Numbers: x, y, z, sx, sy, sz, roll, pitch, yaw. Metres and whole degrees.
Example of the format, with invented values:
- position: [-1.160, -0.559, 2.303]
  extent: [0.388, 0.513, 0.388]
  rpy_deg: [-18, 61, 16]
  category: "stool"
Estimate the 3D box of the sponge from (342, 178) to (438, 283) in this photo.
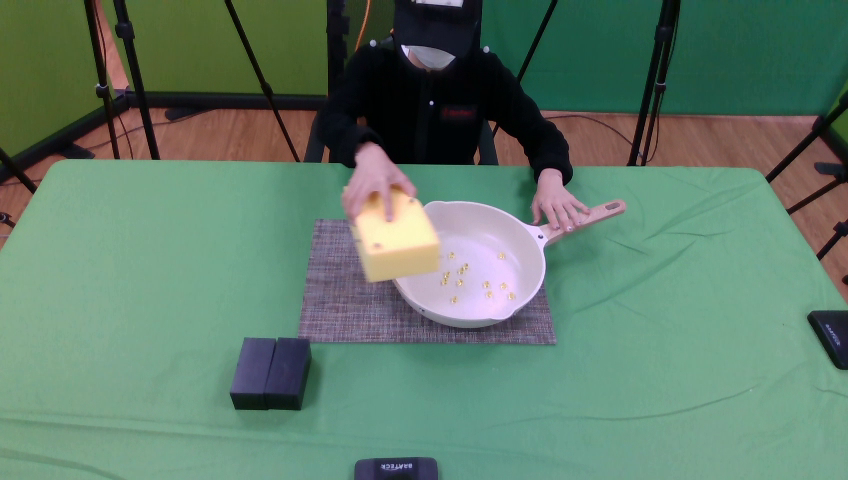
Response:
- position: [-0.062, -0.022, 1.028]
  extent: [0.118, 0.061, 0.205]
  rpy_deg: [-10, 39, -14]
  category: "sponge"

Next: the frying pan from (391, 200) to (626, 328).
- position: [0.169, 0.013, 1.137]
  extent: [0.488, 0.103, 0.304]
  rpy_deg: [-19, 51, -11]
  category: "frying pan"
